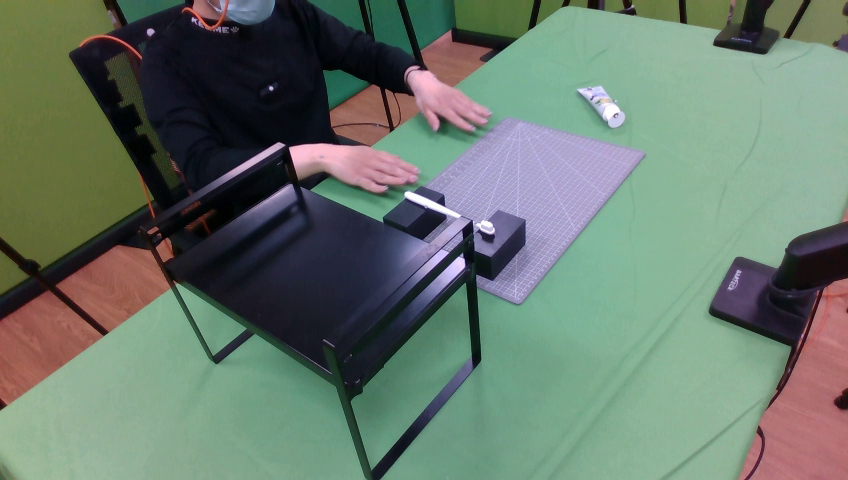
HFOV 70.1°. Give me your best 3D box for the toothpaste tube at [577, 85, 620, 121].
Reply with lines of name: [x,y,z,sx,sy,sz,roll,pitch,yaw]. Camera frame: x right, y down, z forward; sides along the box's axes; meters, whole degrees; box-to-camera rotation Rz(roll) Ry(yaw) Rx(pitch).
toothpaste tube: [0.368,-0.285,1.244,0.055,0.034,0.164,-3,36,-6]

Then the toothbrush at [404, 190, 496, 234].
toothbrush: [0.036,-0.047,0.942,0.180,0.017,0.014,25,62,34]

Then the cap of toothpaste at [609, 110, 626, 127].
cap of toothpaste: [0.376,-0.238,1.179,0.037,0.037,0.011,-16,43,-10]
